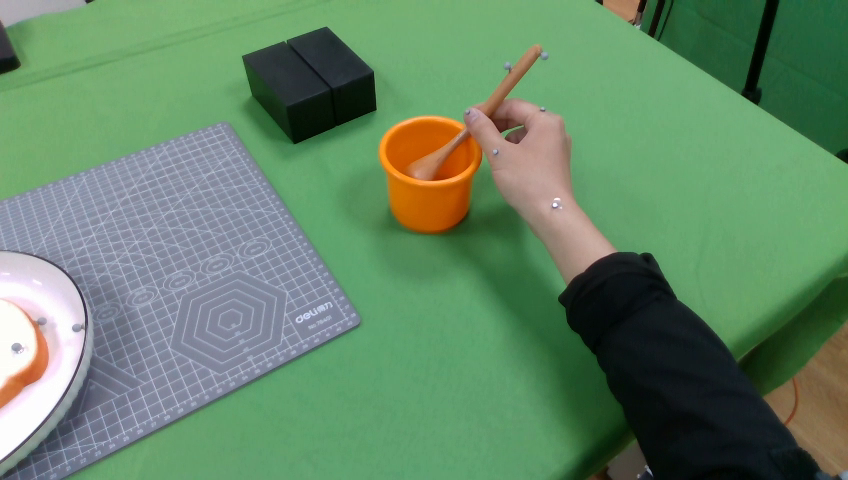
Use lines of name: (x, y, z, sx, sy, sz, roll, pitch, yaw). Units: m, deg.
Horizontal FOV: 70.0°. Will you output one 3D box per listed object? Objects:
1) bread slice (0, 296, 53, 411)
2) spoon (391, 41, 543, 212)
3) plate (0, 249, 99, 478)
bread slice: (-0.351, 0.097, 0.448, 0.104, 0.019, 0.131, 37, 60, 24)
spoon: (0.034, -0.098, 0.536, 0.194, 0.022, 0.041, -45, 56, 16)
plate: (-0.345, 0.099, 0.444, 0.209, 0.038, 0.207, 1, 52, -1)
